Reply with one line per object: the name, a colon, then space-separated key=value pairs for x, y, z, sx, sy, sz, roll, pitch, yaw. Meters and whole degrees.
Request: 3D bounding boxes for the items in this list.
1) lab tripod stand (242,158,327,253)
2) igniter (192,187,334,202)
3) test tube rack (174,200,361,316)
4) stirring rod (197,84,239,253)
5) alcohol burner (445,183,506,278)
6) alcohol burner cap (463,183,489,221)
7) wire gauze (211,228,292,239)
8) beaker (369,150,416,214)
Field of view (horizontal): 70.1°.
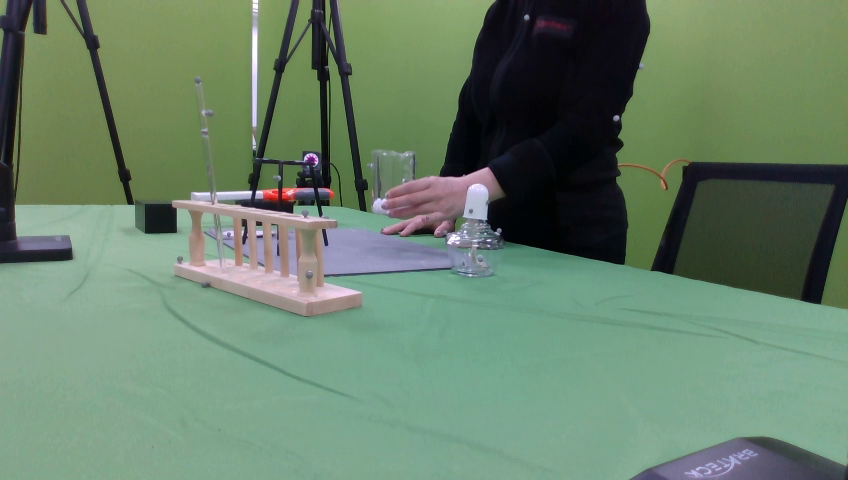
lab tripod stand: x=-0.207 y=-0.054 z=0.895 sx=0.148 sy=0.131 sz=0.148 roll=2 pitch=5 yaw=0
igniter: x=-0.316 y=-0.090 z=1.213 sx=0.278 sy=0.025 sz=0.057 roll=-5 pitch=13 yaw=-31
test tube rack: x=-0.169 y=0.010 z=0.622 sx=0.241 sy=0.085 sz=0.067 roll=9 pitch=9 yaw=41
stirring rod: x=-0.212 y=-0.072 z=0.625 sx=0.006 sy=0.176 sz=0.014 roll=-14 pitch=12 yaw=-22
alcohol burner: x=0.066 y=-0.013 z=0.771 sx=0.078 sy=0.119 sz=0.078 roll=0 pitch=7 yaw=0
alcohol burner cap: x=0.067 y=-0.048 z=0.765 sx=0.034 sy=0.048 sz=0.034 roll=5 pitch=5 yaw=0
wire gauze: x=-0.298 y=-0.013 z=1.039 sx=0.122 sy=0.011 sz=0.124 roll=-2 pitch=6 yaw=-27
beaker: x=-0.049 y=-0.091 z=0.966 sx=0.074 sy=0.100 sz=0.083 roll=-1 pitch=6 yaw=-22
